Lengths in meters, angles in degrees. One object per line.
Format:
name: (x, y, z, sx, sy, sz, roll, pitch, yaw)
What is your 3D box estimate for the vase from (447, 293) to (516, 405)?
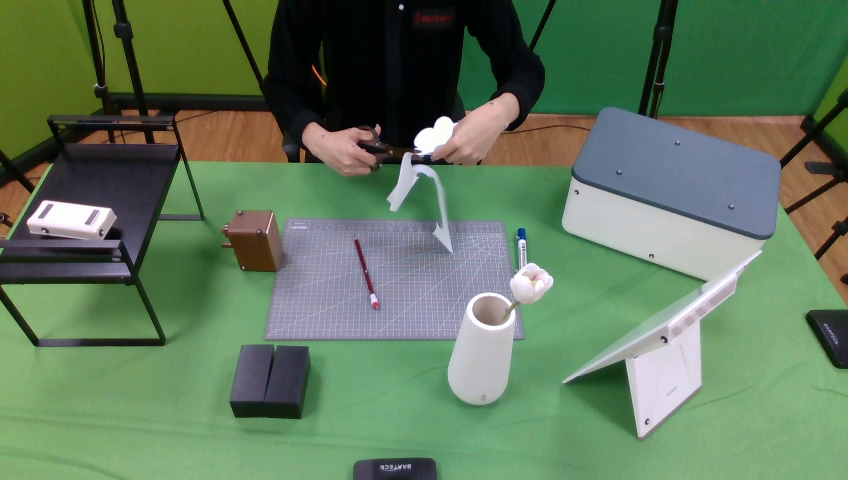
vase: (0.091, 0.169, 0.921, 0.098, 0.201, 0.097, 3, 47, -3)

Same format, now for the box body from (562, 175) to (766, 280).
box body: (0.486, -0.088, 1.222, 0.363, 0.161, 0.253, 20, 48, 15)

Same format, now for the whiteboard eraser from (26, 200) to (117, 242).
whiteboard eraser: (-0.532, -0.026, 0.919, 0.113, 0.042, 0.055, 7, 45, 3)

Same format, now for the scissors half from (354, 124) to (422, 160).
scissors half: (-0.065, -0.168, 1.060, 0.013, 0.040, 0.174, -30, 44, -35)

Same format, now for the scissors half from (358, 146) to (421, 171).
scissors half: (-0.062, -0.147, 1.068, 0.013, 0.040, 0.174, -24, 14, -37)

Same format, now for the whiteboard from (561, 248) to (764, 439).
whiteboard: (0.386, 0.176, 0.905, 0.217, 0.306, 0.143, -26, 72, -27)

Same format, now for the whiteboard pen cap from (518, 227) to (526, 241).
whiteboard pen cap: (0.197, -0.009, 1.220, 0.018, 0.018, 0.033, 5, 51, 0)

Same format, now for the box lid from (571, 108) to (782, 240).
box lid: (0.491, -0.139, 1.168, 0.370, 0.015, 0.262, 21, 49, 15)

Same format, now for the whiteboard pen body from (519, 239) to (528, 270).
whiteboard pen body: (0.193, 0.035, 1.181, 0.017, 0.017, 0.140, 6, 48, 1)

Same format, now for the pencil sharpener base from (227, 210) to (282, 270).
pencil sharpener base: (-0.311, 0.001, 1.112, 0.077, 0.107, 0.061, 1, 47, 1)

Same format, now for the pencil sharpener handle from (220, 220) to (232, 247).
pencil sharpener handle: (-0.362, -0.009, 1.105, 0.030, 0.068, 0.036, 1, 52, 1)

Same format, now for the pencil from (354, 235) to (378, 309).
pencil: (-0.113, 0.055, 1.143, 0.012, 0.012, 0.192, -10, 46, -13)

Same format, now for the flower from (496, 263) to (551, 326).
flower: (0.102, 0.121, 0.853, 0.044, 0.363, 0.038, -2, 64, -10)
